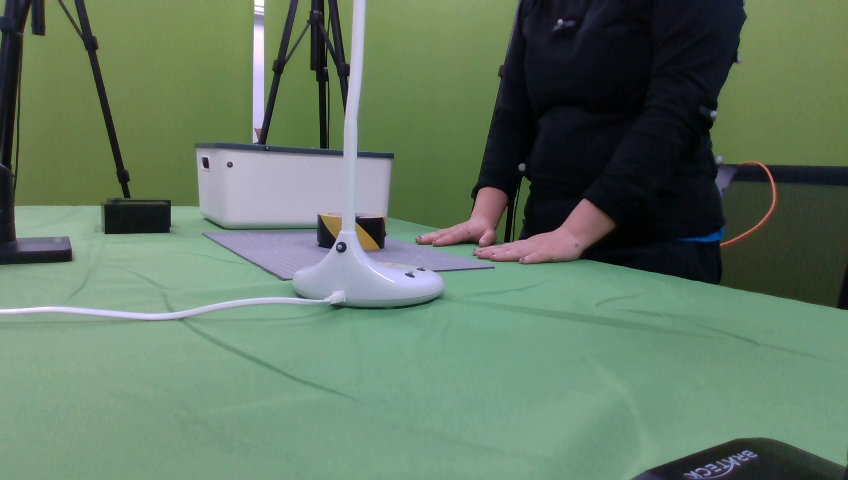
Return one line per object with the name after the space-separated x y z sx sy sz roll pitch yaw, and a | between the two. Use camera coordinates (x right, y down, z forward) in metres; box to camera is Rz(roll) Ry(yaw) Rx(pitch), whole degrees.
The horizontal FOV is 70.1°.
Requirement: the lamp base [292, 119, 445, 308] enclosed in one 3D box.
-0.056 -0.030 0.616 0.160 0.180 0.179 4 10 8 | lamp base

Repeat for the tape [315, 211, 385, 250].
-0.119 -0.017 0.973 0.117 0.052 0.117 2 7 0 | tape

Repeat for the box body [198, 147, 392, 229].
-0.278 -0.117 1.292 0.366 0.160 0.253 -2 8 -30 | box body

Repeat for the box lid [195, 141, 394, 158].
-0.277 -0.190 1.282 0.373 0.015 0.262 -1 8 -30 | box lid
